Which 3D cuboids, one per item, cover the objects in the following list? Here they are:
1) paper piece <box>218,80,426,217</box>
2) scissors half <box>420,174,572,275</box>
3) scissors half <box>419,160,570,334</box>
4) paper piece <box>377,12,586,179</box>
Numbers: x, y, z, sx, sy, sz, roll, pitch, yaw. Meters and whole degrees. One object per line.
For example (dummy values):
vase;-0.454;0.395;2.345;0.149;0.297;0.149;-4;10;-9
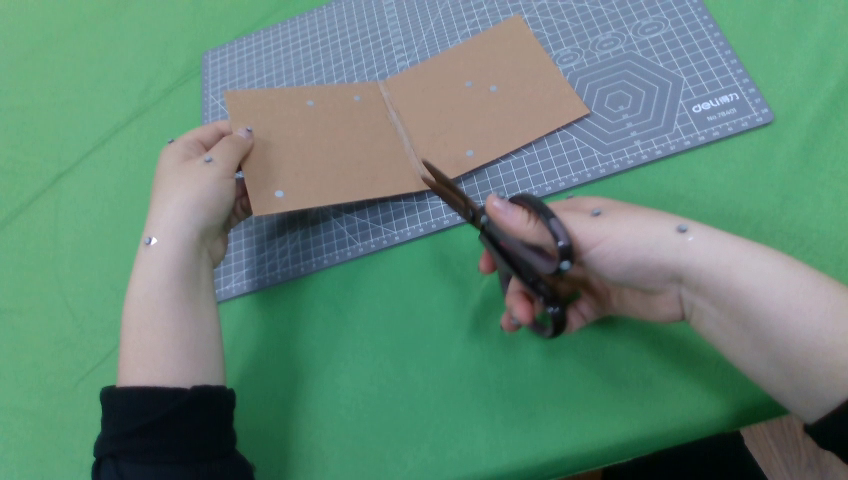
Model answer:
paper piece;-0.082;-0.080;0.479;0.138;0.009;0.134;-11;52;-19
scissors half;0.035;-0.022;0.381;0.013;0.040;0.173;-19;24;-20
scissors half;0.038;-0.004;0.395;0.013;0.040;0.173;-23;52;-17
paper piece;0.041;-0.121;0.498;0.135;0.004;0.134;-26;57;3
